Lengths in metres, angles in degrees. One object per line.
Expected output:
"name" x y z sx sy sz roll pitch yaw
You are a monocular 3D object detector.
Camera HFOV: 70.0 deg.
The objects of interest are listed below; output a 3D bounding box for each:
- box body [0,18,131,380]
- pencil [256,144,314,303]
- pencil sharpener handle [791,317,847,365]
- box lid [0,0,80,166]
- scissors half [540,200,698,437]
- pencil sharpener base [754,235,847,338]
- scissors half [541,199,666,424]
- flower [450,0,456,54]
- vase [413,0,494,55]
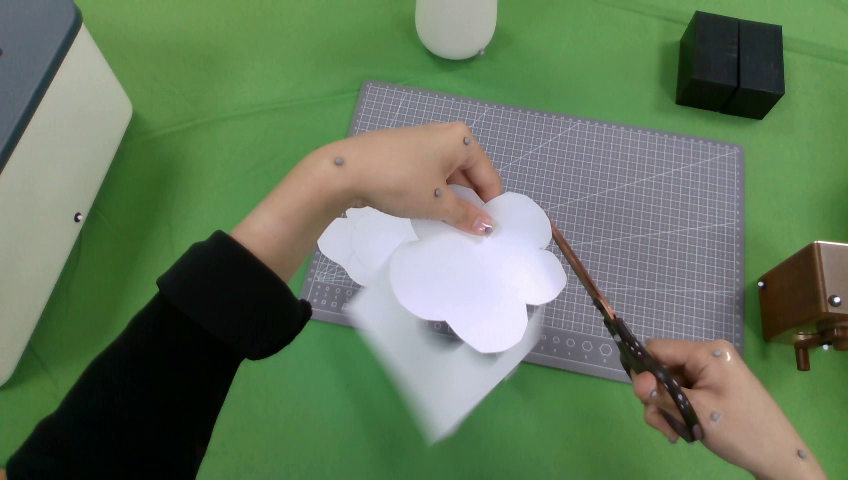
"box body" -0.480 -0.060 0.577 0.254 0.161 0.361 11 68 4
"pencil" -0.145 -0.024 0.652 0.012 0.012 0.193 11 67 4
"pencil sharpener handle" 0.362 0.093 0.546 0.036 0.068 0.030 12 67 -11
"box lid" -0.479 -0.091 0.508 0.263 0.015 0.369 11 68 3
"scissors half" 0.122 0.048 0.386 0.013 0.040 0.174 -31 82 -7
"pencil sharpener base" 0.371 0.051 0.577 0.061 0.108 0.076 6 68 2
"scissors half" 0.121 0.048 0.406 0.013 0.040 0.176 -30 99 -2
"flower" 0.030 -0.344 0.593 0.044 0.365 0.038 4 50 5
"vase" 0.034 -0.299 0.664 0.098 0.201 0.097 0 66 0
